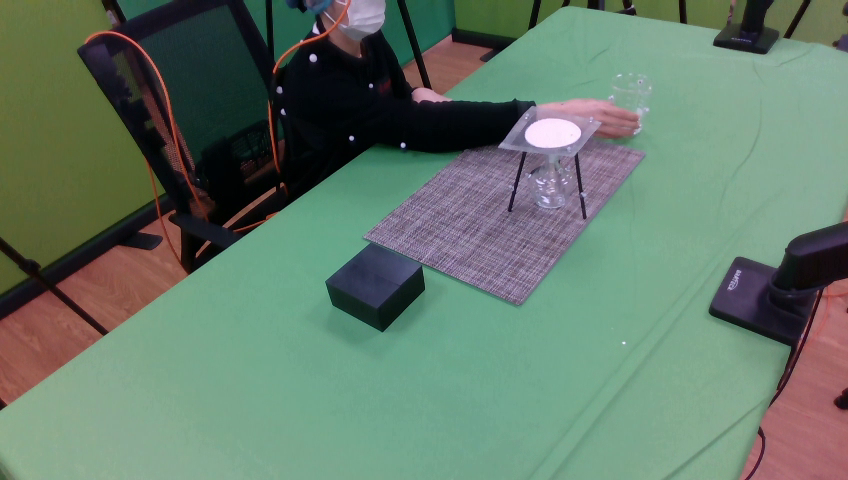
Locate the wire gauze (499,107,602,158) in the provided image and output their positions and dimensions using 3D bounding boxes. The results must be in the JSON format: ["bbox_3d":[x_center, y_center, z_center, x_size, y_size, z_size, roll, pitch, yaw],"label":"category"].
[{"bbox_3d":[0.198,-0.168,0.943,0.120,0.011,0.125,17,47,27],"label":"wire gauze"}]

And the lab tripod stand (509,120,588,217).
[{"bbox_3d":[0.207,-0.114,0.983,0.148,0.132,0.147,-5,42,5],"label":"lab tripod stand"}]

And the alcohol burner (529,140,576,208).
[{"bbox_3d":[0.211,-0.112,0.995,0.078,0.119,0.077,-6,41,5],"label":"alcohol burner"}]

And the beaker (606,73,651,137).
[{"bbox_3d":[0.386,-0.252,1.144,0.074,0.101,0.083,-29,45,-23],"label":"beaker"}]

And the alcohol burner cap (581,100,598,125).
[{"bbox_3d":[0.332,-0.258,1.210,0.034,0.048,0.033,-5,41,5],"label":"alcohol burner cap"}]
